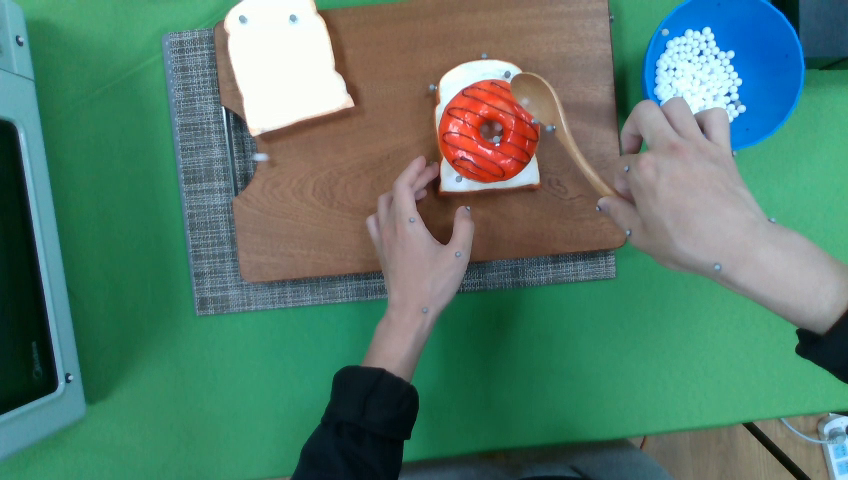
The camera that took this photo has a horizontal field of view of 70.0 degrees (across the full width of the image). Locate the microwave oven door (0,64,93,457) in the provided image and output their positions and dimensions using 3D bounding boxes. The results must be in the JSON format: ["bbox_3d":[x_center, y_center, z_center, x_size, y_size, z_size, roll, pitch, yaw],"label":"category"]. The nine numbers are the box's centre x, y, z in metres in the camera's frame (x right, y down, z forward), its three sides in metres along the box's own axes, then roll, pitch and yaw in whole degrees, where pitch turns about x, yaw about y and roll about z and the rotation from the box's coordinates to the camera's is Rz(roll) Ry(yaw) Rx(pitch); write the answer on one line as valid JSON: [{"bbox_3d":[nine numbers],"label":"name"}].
[{"bbox_3d":[-0.397,0.011,0.518,0.039,0.243,0.356,-9,93,2],"label":"microwave oven door"}]

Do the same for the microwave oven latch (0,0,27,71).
[{"bbox_3d":[-0.425,-0.210,0.607,0.030,0.029,0.079,-8,94,1],"label":"microwave oven latch"}]

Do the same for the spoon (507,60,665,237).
[{"bbox_3d":[0.131,-0.076,0.500,0.022,0.042,0.192,-25,71,-24],"label":"spoon"}]

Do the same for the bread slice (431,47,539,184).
[{"bbox_3d":[0.057,-0.125,0.606,0.105,0.019,0.131,-7,94,0],"label":"bread slice"}]

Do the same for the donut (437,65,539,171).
[{"bbox_3d":[0.061,-0.115,0.576,0.099,0.048,0.099,0,95,0],"label":"donut"}]

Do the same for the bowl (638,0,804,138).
[{"bbox_3d":[0.278,-0.172,0.599,0.151,0.077,0.151,0,94,1],"label":"bowl"}]

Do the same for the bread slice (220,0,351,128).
[{"bbox_3d":[-0.145,-0.187,0.603,0.107,0.018,0.134,-20,92,1],"label":"bread slice"}]

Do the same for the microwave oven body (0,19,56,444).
[{"bbox_3d":[-0.548,-0.010,0.524,0.326,0.260,0.442,-8,94,1],"label":"microwave oven body"}]
